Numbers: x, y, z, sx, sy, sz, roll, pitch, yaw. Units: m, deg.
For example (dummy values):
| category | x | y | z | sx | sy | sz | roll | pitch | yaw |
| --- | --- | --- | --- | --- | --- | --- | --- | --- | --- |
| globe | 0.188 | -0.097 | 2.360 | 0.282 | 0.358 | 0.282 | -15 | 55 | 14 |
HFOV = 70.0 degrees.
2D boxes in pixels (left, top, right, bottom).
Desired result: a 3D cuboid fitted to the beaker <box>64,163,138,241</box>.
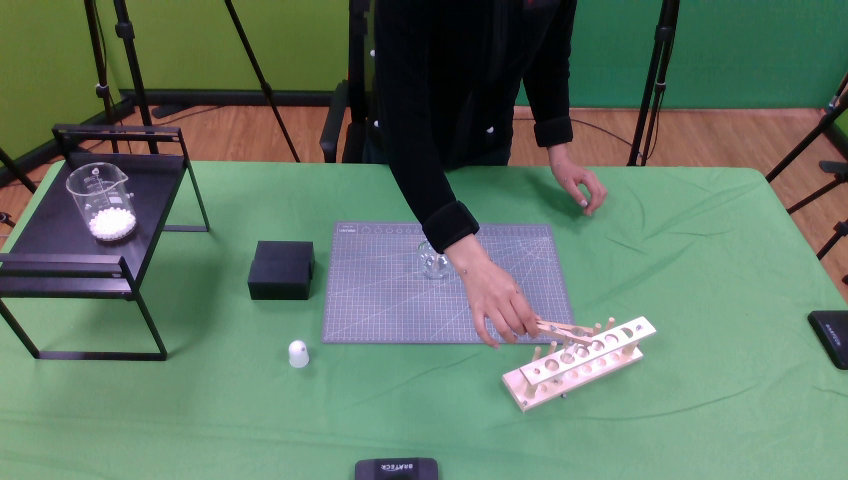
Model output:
| category | x | y | z | sx | sy | sz | roll | pitch | yaw |
| --- | --- | --- | --- | --- | --- | --- | --- | --- | --- |
| beaker | -0.477 | -0.055 | 0.910 | 0.084 | 0.101 | 0.073 | -9 | 48 | -13 |

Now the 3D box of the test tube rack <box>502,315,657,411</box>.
| category | x | y | z | sx | sy | sz | roll | pitch | yaw |
| --- | --- | --- | --- | --- | --- | --- | --- | --- | --- |
| test tube rack | 0.253 | 0.186 | 0.989 | 0.242 | 0.085 | 0.066 | -18 | 50 | -20 |

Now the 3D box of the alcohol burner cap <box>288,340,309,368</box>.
| category | x | y | z | sx | sy | sz | roll | pitch | yaw |
| --- | --- | --- | --- | --- | --- | --- | --- | --- | --- |
| alcohol burner cap | -0.207 | 0.183 | 0.991 | 0.034 | 0.048 | 0.033 | 2 | 47 | -2 |

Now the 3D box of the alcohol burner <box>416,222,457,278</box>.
| category | x | y | z | sx | sy | sz | roll | pitch | yaw |
| --- | --- | --- | --- | --- | --- | --- | --- | --- | --- |
| alcohol burner | 0.024 | 0.014 | 1.116 | 0.078 | 0.120 | 0.077 | 1 | 45 | -1 |

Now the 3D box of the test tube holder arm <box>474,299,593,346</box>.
| category | x | y | z | sx | sy | sz | roll | pitch | yaw |
| --- | --- | --- | --- | --- | --- | --- | --- | --- | --- |
| test tube holder arm | 0.157 | 0.120 | 0.887 | 0.178 | 0.015 | 0.013 | 17 | 61 | 15 |

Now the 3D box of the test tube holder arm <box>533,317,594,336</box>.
| category | x | y | z | sx | sy | sz | roll | pitch | yaw |
| --- | --- | --- | --- | --- | --- | --- | --- | --- | --- |
| test tube holder arm | 0.201 | 0.125 | 0.880 | 0.088 | 0.015 | 0.010 | 8 | 60 | 10 |

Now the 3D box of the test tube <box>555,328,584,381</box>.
| category | x | y | z | sx | sy | sz | roll | pitch | yaw |
| --- | --- | --- | --- | --- | --- | --- | --- | --- | --- |
| test tube | 0.220 | 0.177 | 0.925 | 0.017 | 0.151 | 0.017 | 1 | 51 | 0 |
